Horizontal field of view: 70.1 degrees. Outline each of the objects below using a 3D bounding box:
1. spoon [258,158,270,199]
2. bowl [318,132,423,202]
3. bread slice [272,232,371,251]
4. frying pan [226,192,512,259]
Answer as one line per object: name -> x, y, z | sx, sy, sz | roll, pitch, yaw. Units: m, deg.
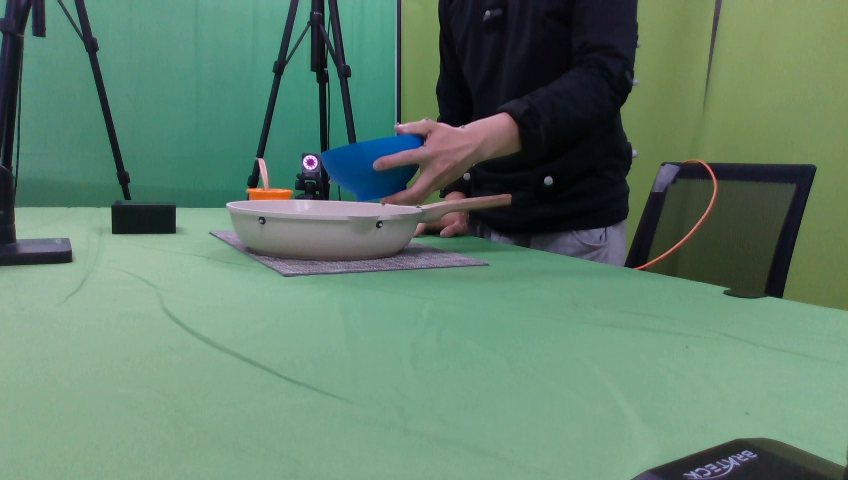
spoon -> -0.332, -0.107, 1.269 | 0.042, 0.021, 0.193 | 0, 53, -23
bowl -> -0.069, -0.099, 0.860 | 0.151, 0.077, 0.151 | -11, 4, 1
bread slice -> -0.148, 0.001, 0.929 | 0.133, 0.018, 0.107 | 5, 7, 38
frying pan -> -0.058, -0.041, 0.975 | 0.490, 0.102, 0.305 | -11, 13, -26
